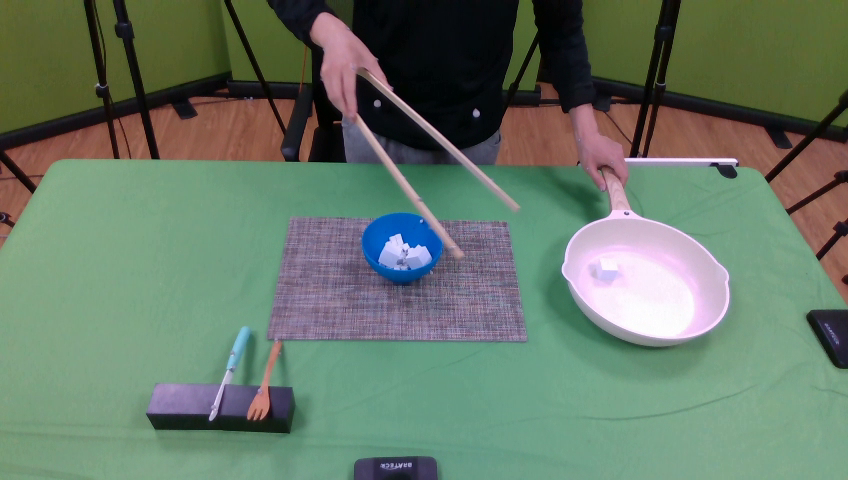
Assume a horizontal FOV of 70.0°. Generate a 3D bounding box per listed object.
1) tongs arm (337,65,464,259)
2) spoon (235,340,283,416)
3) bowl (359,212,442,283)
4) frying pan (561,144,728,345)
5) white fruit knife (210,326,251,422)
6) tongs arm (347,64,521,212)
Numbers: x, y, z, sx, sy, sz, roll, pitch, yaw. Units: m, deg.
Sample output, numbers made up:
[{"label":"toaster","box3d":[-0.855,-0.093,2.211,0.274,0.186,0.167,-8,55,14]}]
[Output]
[{"label":"tongs arm","box3d":[-0.038,-0.134,1.018,0.051,0.026,0.384,-35,82,-16]},{"label":"spoon","box3d":[-0.244,0.207,0.932,0.042,0.022,0.193,28,25,-8]},{"label":"bowl","box3d":[-0.044,0.026,1.125,0.151,0.077,0.150,2,46,-2]},{"label":"frying pan","box3d":[0.397,-0.008,1.179,0.307,0.103,0.485,2,55,-4]},{"label":"white fruit knife","box3d":[-0.300,0.201,0.941,0.016,0.027,0.206,-2,32,0]},{"label":"tongs arm","box3d":[0.018,-0.178,1.042,0.387,0.028,0.028,42,76,4]}]
